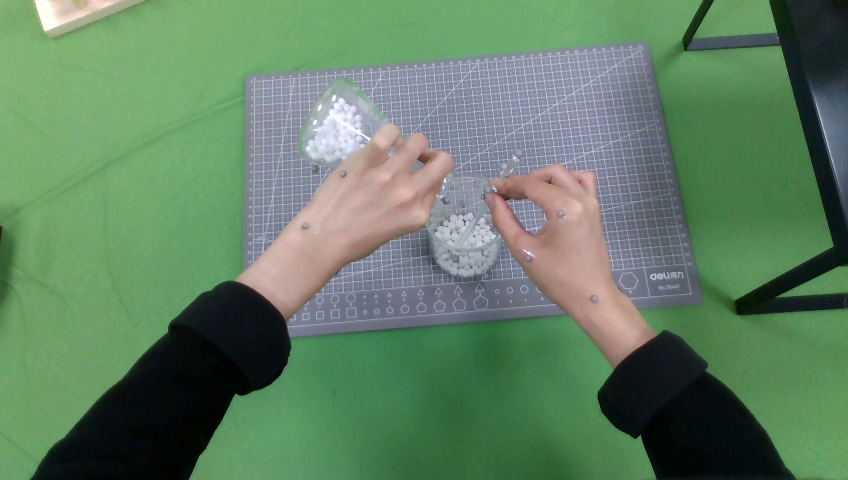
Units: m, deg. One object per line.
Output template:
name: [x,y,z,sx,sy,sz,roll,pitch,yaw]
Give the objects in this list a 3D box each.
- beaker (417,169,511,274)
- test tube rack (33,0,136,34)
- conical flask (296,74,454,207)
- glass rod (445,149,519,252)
beaker: [0.036,-0.013,0.567,0.084,0.101,0.073,18,74,9]
test tube rack: [-0.345,-0.331,0.689,0.242,0.085,0.066,-25,73,-6]
conical flask: [-0.036,-0.074,0.495,0.122,0.075,0.075,31,76,-4]
glass rod: [0.044,-0.026,0.514,0.008,0.200,0.008,4,68,-11]
